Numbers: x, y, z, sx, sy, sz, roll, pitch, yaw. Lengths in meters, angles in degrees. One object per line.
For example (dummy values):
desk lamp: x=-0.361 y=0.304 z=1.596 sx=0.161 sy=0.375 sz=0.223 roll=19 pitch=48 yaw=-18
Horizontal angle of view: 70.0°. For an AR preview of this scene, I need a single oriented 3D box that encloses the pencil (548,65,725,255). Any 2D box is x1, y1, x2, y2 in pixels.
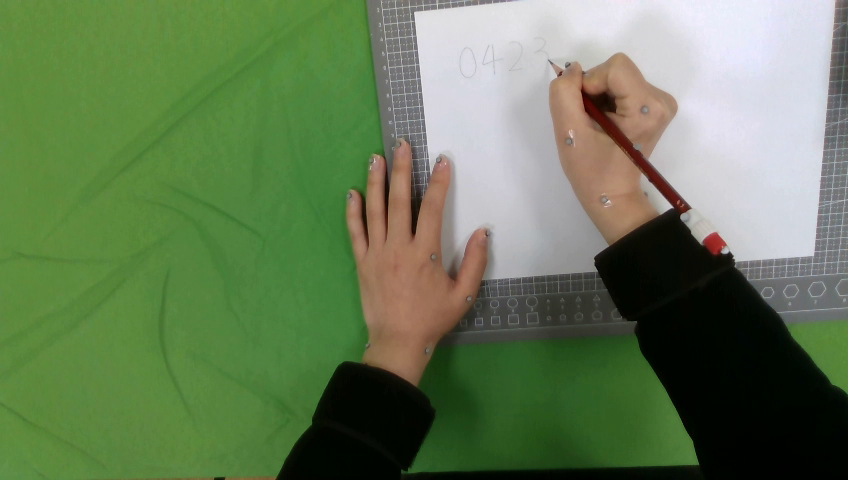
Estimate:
pencil: x=0.127 y=-0.062 z=0.391 sx=0.012 sy=0.192 sz=0.012 roll=-17 pitch=142 yaw=-13
